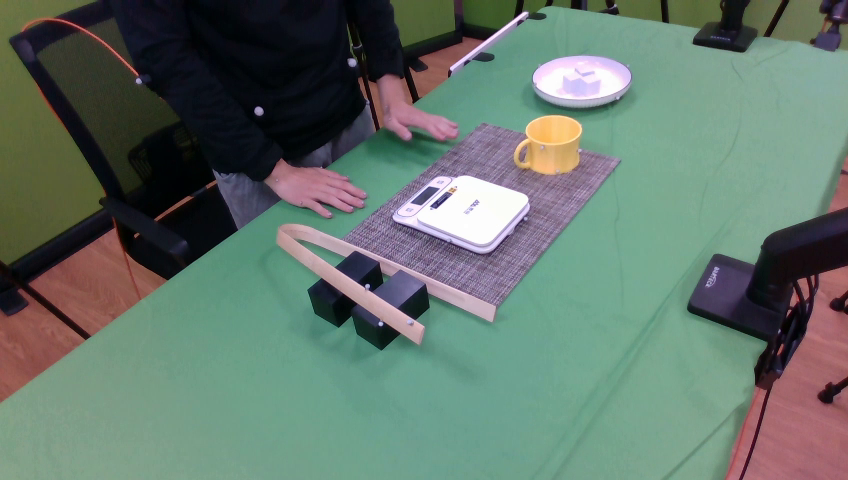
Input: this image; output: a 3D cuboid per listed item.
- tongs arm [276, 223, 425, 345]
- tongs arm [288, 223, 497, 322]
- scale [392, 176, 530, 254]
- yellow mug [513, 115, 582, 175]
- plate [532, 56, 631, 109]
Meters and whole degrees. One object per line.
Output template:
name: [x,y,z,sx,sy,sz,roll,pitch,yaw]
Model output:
tongs arm: [-0.114,0.049,0.856,0.051,0.026,0.381,-7,24,-44]
tongs arm: [-0.060,0.043,0.918,0.384,0.028,0.028,21,24,28]
scale: [0.060,-0.050,1.006,0.199,0.032,0.149,22,48,30]
yellow mug: [0.220,-0.168,1.094,0.131,0.064,0.099,-21,43,-14]
plate: [0.336,-0.336,1.301,0.207,0.039,0.206,-4,41,4]
